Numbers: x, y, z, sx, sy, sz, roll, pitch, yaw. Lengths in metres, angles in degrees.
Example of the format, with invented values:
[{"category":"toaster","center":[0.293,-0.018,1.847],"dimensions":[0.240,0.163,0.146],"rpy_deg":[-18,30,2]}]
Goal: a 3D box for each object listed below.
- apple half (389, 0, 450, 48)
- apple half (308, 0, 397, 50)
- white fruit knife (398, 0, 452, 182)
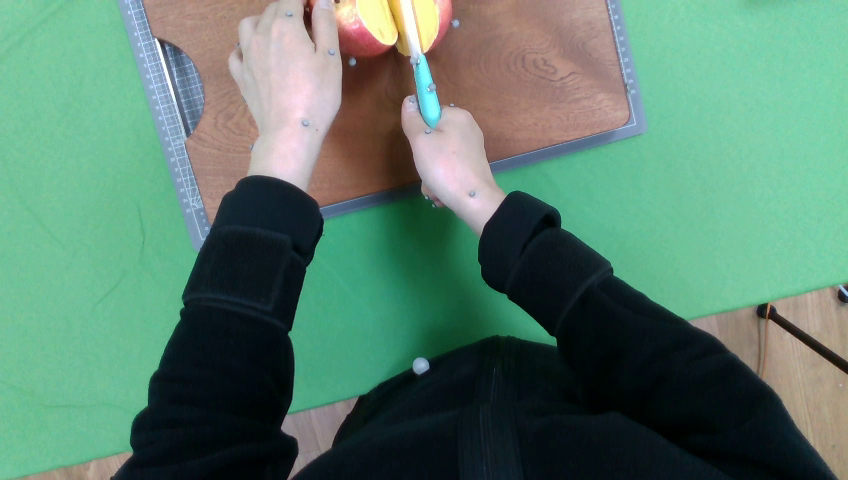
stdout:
[{"category":"apple half","center":[-0.002,-0.202,0.513],"dimensions":[0.033,0.081,0.081],"rpy_deg":[-16,97,-32]},{"category":"apple half","center":[-0.064,-0.195,0.505],"dimensions":[0.053,0.074,0.081],"rpy_deg":[-20,97,26]},{"category":"white fruit knife","center":[-0.006,-0.151,0.510],"dimensions":[0.016,0.027,0.208],"rpy_deg":[-16,98,-23]}]
